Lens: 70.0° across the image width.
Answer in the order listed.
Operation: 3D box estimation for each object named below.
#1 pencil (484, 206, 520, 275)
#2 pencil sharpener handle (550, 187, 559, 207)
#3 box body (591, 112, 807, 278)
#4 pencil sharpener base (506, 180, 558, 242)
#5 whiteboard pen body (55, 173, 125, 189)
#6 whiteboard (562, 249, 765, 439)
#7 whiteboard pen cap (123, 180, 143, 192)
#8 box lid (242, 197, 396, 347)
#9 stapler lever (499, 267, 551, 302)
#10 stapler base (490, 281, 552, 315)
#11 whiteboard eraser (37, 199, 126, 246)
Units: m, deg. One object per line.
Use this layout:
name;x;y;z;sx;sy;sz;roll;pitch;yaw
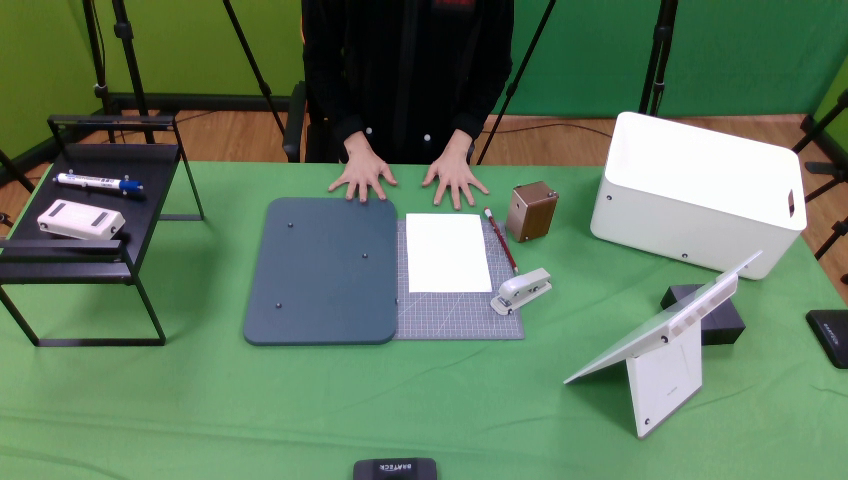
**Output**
pencil;0.156;-0.002;1.218;0.012;0.012;0.192;-10;48;-13
pencil sharpener handle;0.261;-0.084;1.221;0.031;0.068;0.036;-16;66;-19
box body;0.540;-0.092;1.230;0.363;0.161;0.253;16;47;11
pencil sharpener base;0.216;-0.058;1.211;0.077;0.107;0.061;-16;49;-19
whiteboard pen body;-0.539;-0.095;0.998;0.141;0.017;0.017;6;46;6
whiteboard;0.386;0.176;0.905;0.217;0.306;0.143;-26;72;-26
whiteboard pen cap;-0.479;-0.089;0.993;0.033;0.018;0.018;7;46;14
box lid;-0.186;0.046;1.147;0.263;0.015;0.369;0;46;-3
stapler lever;0.185;0.076;1.101;0.118;0.040;0.026;-25;56;-29
stapler base;0.181;0.094;1.118;0.130;0.024;0.041;-24;56;-29
whiteboard eraser;-0.518;-0.025;0.918;0.112;0.042;0.055;12;49;7
